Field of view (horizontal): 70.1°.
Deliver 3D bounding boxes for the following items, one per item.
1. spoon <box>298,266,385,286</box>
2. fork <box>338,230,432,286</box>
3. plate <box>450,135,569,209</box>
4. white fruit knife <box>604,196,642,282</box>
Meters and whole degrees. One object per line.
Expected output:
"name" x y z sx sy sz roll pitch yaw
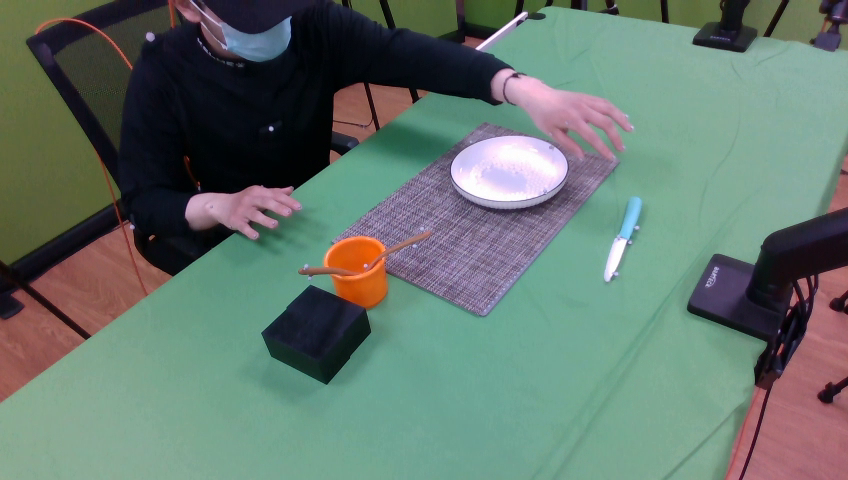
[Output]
"spoon" -0.112 0.047 0.826 0.041 0.195 0.021 -24 71 23
"fork" -0.058 0.028 0.846 0.206 0.018 0.028 -34 5 43
"plate" 0.149 -0.117 1.066 0.209 0.038 0.208 -3 41 4
"white fruit knife" 0.309 -0.004 0.938 0.027 0.016 0.207 -12 33 41
